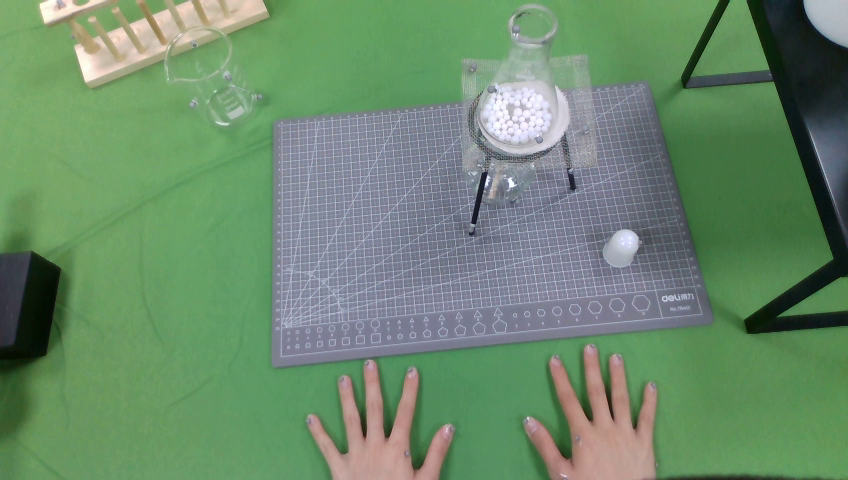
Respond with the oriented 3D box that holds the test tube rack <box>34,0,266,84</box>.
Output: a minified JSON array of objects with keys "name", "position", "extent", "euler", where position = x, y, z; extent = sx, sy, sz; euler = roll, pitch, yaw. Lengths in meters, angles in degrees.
[{"name":"test tube rack","position":[-0.330,-0.288,0.748],"extent":[0.242,0.086,0.066],"euler":[-25,69,-7]}]

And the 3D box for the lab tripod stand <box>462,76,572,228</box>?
[{"name":"lab tripod stand","position":[0.089,-0.093,0.620],"extent":[0.148,0.132,0.147],"euler":[-1,66,2]}]

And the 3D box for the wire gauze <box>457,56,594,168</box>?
[{"name":"wire gauze","position":[0.092,-0.122,0.561],"extent":[0.121,0.011,0.124],"euler":[0,66,0]}]

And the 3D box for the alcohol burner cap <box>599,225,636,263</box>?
[{"name":"alcohol burner cap","position":[0.202,0.001,0.626],"extent":[0.034,0.048,0.033],"euler":[-1,69,2]}]

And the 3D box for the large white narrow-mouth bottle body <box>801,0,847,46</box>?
[{"name":"large white narrow-mouth bottle body","position":[0.372,-0.241,0.442],"extent":[0.102,0.196,0.101],"euler":[-1,66,2]}]

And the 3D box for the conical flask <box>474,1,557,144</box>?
[{"name":"conical flask","position":[0.081,-0.141,0.505],"extent":[0.075,0.123,0.075],"euler":[-1,68,2]}]

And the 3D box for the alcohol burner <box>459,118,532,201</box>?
[{"name":"alcohol burner","position":[0.076,-0.090,0.631],"extent":[0.078,0.120,0.077],"euler":[0,67,1]}]

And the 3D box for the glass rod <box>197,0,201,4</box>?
[{"name":"glass rod","position":[-0.289,-0.350,0.699],"extent":[0.008,0.201,0.008],"euler":[1,66,-2]}]

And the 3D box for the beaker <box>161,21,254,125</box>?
[{"name":"beaker","position":[-0.245,-0.185,0.696],"extent":[0.073,0.101,0.084],"euler":[40,75,17]}]
